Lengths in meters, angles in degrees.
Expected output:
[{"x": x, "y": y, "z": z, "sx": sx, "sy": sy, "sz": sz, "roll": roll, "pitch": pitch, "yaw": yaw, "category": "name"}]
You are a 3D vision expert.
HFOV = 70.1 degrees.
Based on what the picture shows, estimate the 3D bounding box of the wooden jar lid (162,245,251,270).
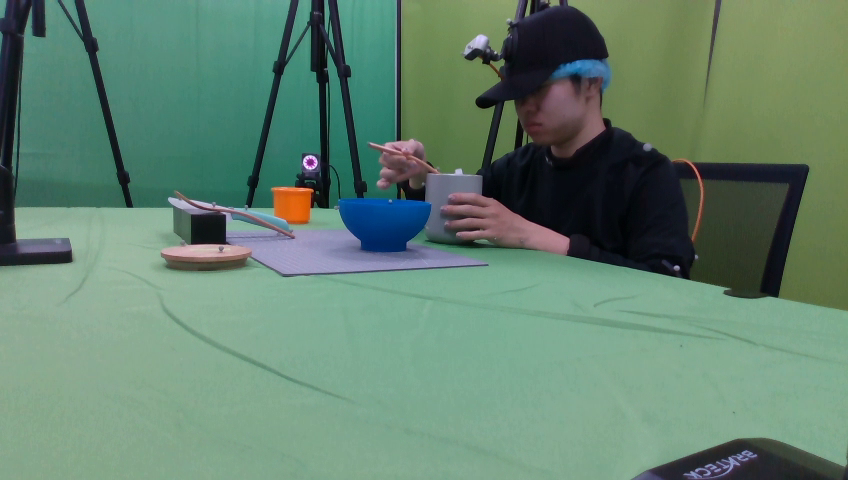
[{"x": -0.278, "y": 0.022, "z": 0.777, "sx": 0.108, "sy": 0.020, "sz": 0.108, "roll": 2, "pitch": 6, "yaw": 0, "category": "wooden jar lid"}]

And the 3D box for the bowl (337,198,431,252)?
[{"x": -0.066, "y": -0.024, "z": 0.967, "sx": 0.151, "sy": 0.077, "sz": 0.151, "roll": 3, "pitch": 7, "yaw": 0, "category": "bowl"}]

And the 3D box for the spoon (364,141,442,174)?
[{"x": -0.017, "y": -0.144, "z": 1.102, "sx": 0.194, "sy": 0.021, "sz": 0.041, "roll": 25, "pitch": 10, "yaw": -1, "category": "spoon"}]

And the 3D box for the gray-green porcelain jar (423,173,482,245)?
[{"x": 0.052, "y": -0.058, "z": 1.115, "sx": 0.106, "sy": 0.126, "sz": 0.106, "roll": 3, "pitch": 8, "yaw": 0, "category": "gray-green porcelain jar"}]

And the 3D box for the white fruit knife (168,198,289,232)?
[{"x": -0.329, "y": -0.044, "z": 1.036, "sx": 0.208, "sy": 0.027, "sz": 0.016, "roll": 14, "pitch": -1, "yaw": -32, "category": "white fruit knife"}]

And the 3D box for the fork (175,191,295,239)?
[{"x": -0.305, "y": -0.039, "z": 0.993, "sx": 0.208, "sy": 0.018, "sz": 0.028, "roll": 19, "pitch": -9, "yaw": -34, "category": "fork"}]
